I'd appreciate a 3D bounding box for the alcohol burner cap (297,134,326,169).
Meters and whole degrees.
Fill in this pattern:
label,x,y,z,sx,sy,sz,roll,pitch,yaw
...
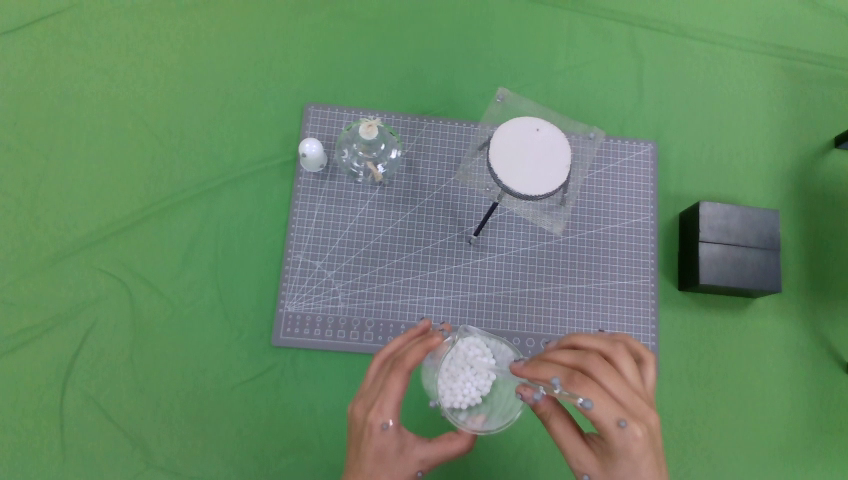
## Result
label,x,y,z,sx,sy,sz,roll,pitch,yaw
alcohol burner cap,-0.134,-0.107,0.714,0.034,0.048,0.033,1,76,-4

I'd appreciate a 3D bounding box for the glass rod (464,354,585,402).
label,x,y,z,sx,sy,sz,roll,pitch,yaw
glass rod,0.062,0.095,0.433,0.008,0.199,0.008,1,86,-15

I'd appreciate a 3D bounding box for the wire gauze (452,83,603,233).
label,x,y,z,sx,sy,sz,roll,pitch,yaw
wire gauze,0.106,-0.087,0.616,0.125,0.011,0.121,27,76,1

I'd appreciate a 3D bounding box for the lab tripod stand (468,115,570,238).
label,x,y,z,sx,sy,sz,roll,pitch,yaw
lab tripod stand,0.105,-0.073,0.682,0.148,0.132,0.147,2,75,-6

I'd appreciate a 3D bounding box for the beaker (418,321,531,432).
label,x,y,z,sx,sy,sz,roll,pitch,yaw
beaker,0.035,0.106,0.497,0.074,0.100,0.084,-17,86,-11

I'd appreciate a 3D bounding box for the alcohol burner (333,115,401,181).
label,x,y,z,sx,sy,sz,roll,pitch,yaw
alcohol burner,-0.064,-0.111,0.685,0.078,0.119,0.077,2,76,-6
